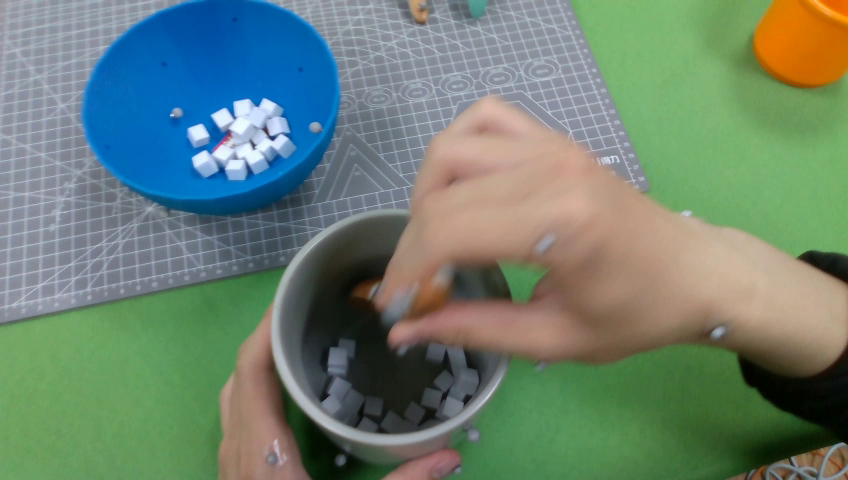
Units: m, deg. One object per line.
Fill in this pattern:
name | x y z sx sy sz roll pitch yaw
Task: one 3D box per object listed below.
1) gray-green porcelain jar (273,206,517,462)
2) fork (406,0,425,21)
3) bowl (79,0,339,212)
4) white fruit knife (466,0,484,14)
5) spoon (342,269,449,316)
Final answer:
gray-green porcelain jar | -0.013 0.057 0.315 0.106 0.127 0.105 1 65 -1
fork | -0.030 -0.275 0.484 0.028 0.018 0.207 -14 86 -14
bowl | -0.126 -0.075 0.392 0.151 0.077 0.150 1 66 -1
white fruit knife | 0.018 -0.283 0.491 0.016 0.027 0.206 -12 81 -9
spoon | -0.011 0.023 0.258 0.042 0.193 0.021 -2 89 -10
